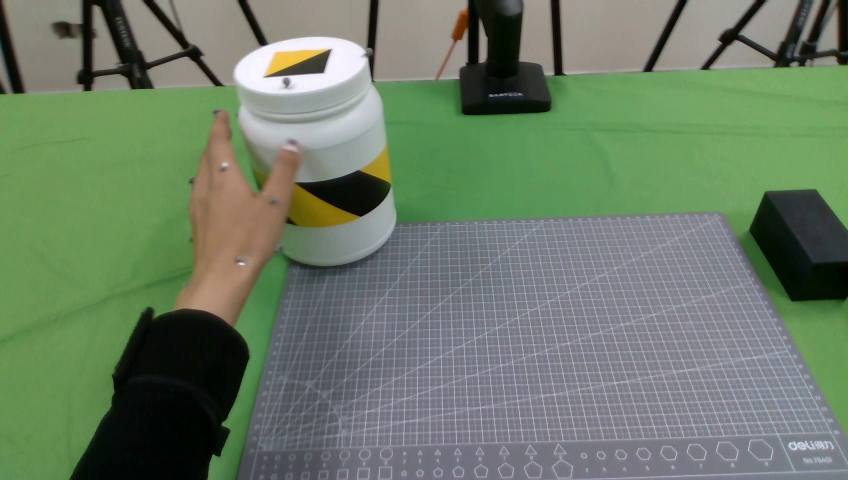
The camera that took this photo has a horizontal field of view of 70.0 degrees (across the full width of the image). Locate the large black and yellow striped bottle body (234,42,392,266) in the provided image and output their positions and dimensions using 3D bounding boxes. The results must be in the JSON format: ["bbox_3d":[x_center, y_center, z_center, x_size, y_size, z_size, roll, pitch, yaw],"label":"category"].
[{"bbox_3d":[-0.103,-0.081,0.580,0.131,0.186,0.129,-2,41,2],"label":"large black and yellow striped bottle body"}]

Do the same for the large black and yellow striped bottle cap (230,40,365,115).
[{"bbox_3d":[-0.109,-0.143,0.523,0.115,0.019,0.114,-3,40,3],"label":"large black and yellow striped bottle cap"}]
